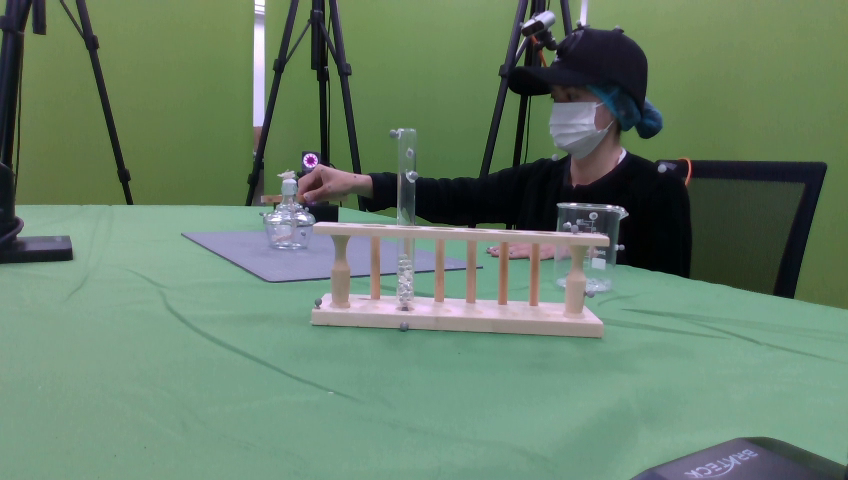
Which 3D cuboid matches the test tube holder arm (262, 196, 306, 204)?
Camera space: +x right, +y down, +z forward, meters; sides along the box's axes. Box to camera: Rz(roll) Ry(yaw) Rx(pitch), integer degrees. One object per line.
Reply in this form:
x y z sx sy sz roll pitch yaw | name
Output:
-0.274 -0.079 1.183 0.088 0.015 0.010 -4 18 -35 | test tube holder arm

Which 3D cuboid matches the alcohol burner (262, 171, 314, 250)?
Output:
-0.205 -0.045 0.913 0.078 0.119 0.078 1 9 0 | alcohol burner

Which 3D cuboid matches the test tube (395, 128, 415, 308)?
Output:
-0.016 -0.017 0.502 0.017 0.150 0.017 1 10 0 | test tube

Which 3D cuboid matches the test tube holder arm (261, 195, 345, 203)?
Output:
-0.240 -0.083 1.214 0.179 0.015 0.013 -4 18 -36 | test tube holder arm

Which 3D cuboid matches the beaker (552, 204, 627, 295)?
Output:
0.191 0.010 0.708 0.083 0.100 0.074 8 9 33 | beaker

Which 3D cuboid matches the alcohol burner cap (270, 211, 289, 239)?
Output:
-0.246 -0.026 1.035 0.034 0.048 0.034 2 8 0 | alcohol burner cap

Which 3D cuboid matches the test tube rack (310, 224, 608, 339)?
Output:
0.028 0.032 0.528 0.242 0.085 0.067 3 7 0 | test tube rack
